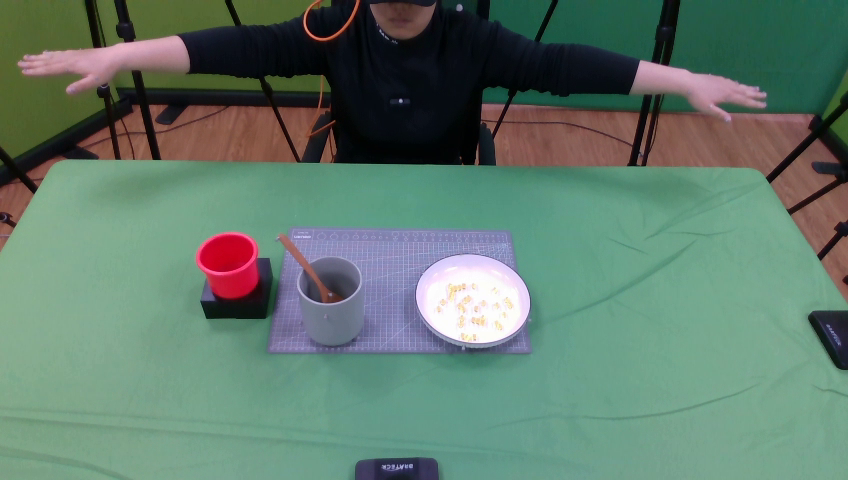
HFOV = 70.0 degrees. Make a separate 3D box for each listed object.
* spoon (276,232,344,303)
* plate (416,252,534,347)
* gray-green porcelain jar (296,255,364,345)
[{"bbox_3d":[-0.180,0.061,0.989,0.021,0.195,0.041,11,49,49],"label":"spoon"},{"bbox_3d":[0.090,0.109,1.084,0.208,0.039,0.206,2,46,-2],"label":"plate"},{"bbox_3d":[-0.154,0.105,1.008,0.106,0.127,0.105,2,46,-2],"label":"gray-green porcelain jar"}]
